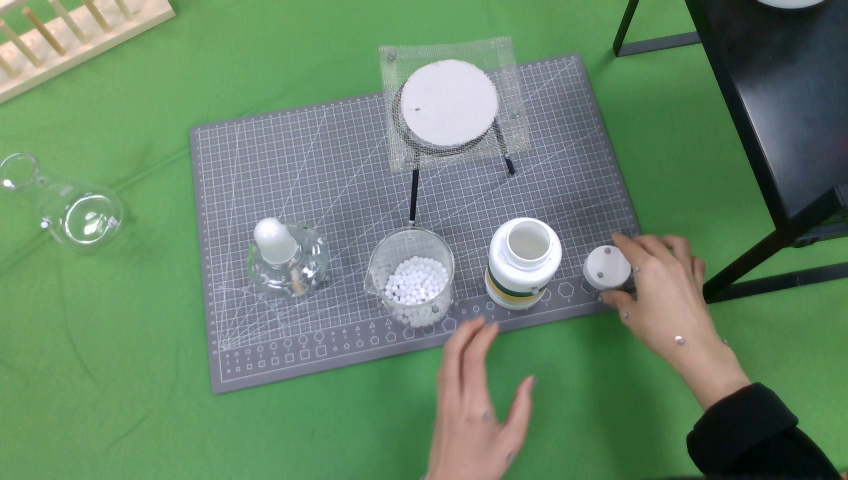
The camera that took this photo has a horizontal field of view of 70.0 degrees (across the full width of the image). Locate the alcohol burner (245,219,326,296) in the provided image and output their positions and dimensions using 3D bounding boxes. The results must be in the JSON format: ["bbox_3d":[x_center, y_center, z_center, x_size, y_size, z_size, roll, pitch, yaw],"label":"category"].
[{"bbox_3d":[-0.134,0.011,0.569,0.078,0.120,0.077,0,69,0],"label":"alcohol burner"}]

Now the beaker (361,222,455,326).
[{"bbox_3d":[-0.012,0.039,0.563,0.084,0.101,0.073,-23,71,-5],"label":"beaker"}]

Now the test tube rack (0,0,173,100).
[{"bbox_3d":[-0.425,-0.253,0.687,0.242,0.086,0.066,-31,73,-9],"label":"test tube rack"}]

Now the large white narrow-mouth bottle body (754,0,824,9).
[{"bbox_3d":[0.298,-0.265,0.423,0.102,0.196,0.101,0,68,1],"label":"large white narrow-mouth bottle body"}]

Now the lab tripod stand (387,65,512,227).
[{"bbox_3d":[0.019,-0.096,0.591,0.148,0.132,0.147,0,69,1],"label":"lab tripod stand"}]

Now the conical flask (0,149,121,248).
[{"bbox_3d":[-0.361,-0.045,0.593,0.075,0.122,0.075,-1,70,2],"label":"conical flask"}]

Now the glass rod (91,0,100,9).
[{"bbox_3d":[-0.387,-0.318,0.638,0.008,0.201,0.008,1,68,-2],"label":"glass rod"}]

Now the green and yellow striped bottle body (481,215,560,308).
[{"bbox_3d":[0.087,0.019,0.556,0.063,0.120,0.063,0,70,2],"label":"green and yellow striped bottle body"}]

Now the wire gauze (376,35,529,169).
[{"bbox_3d":[0.023,-0.124,0.529,0.121,0.011,0.124,-6,71,-2],"label":"wire gauze"}]

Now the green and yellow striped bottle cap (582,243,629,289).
[{"bbox_3d":[0.182,0.025,0.606,0.045,0.020,0.045,-2,70,5],"label":"green and yellow striped bottle cap"}]

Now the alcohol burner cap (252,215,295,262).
[{"bbox_3d":[-0.136,-0.004,0.535,0.034,0.048,0.033,0,63,0],"label":"alcohol burner cap"}]
